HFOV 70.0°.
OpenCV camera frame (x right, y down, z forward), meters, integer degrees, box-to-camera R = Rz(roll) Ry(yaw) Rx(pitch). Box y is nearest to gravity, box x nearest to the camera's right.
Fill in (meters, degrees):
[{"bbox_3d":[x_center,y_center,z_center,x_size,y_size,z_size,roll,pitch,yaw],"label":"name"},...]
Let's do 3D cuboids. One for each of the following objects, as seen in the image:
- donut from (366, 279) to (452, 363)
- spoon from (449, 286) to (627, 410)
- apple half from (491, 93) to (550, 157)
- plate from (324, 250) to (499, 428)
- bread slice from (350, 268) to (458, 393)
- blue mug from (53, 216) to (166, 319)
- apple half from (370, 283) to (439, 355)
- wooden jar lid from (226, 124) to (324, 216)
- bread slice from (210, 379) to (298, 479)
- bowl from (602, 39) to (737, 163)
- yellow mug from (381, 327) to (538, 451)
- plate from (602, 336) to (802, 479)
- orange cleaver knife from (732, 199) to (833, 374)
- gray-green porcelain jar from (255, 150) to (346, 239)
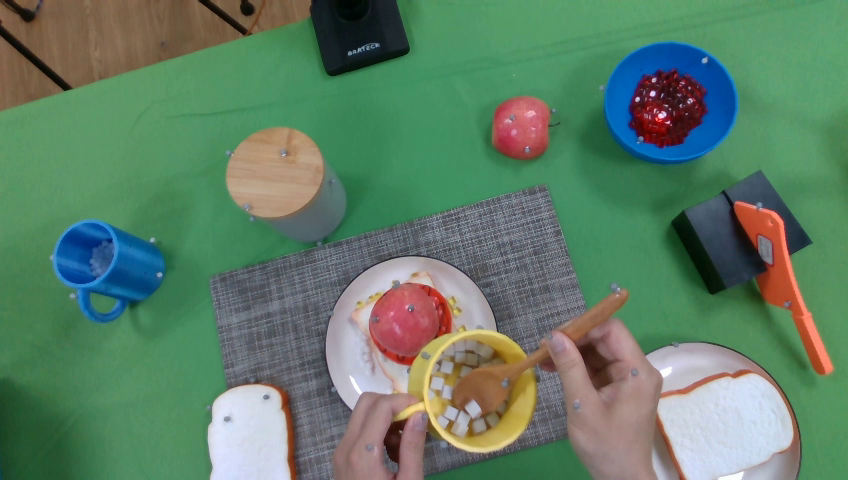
[{"bbox_3d":[-0.017,0.093,0.699,0.099,0.048,0.098,-1,78,6],"label":"donut"},{"bbox_3d":[0.087,0.091,0.487,0.042,0.194,0.021,41,39,-9],"label":"spoon"},{"bbox_3d":[0.122,-0.151,0.766,0.074,0.053,0.080,6,78,10],"label":"apple half"},{"bbox_3d":[-0.015,0.116,0.723,0.207,0.039,0.206,-1,77,6],"label":"plate"},{"bbox_3d":[-0.010,0.113,0.724,0.107,0.018,0.133,-32,75,-1],"label":"bread slice"},{"bbox_3d":[-0.387,0.039,0.746,0.082,0.106,0.116,5,77,7],"label":"blue mug"},{"bbox_3d":[-0.023,0.085,0.664,0.081,0.033,0.081,-3,75,13],"label":"apple half"},{"bbox_3d":[-0.164,-0.076,0.674,0.108,0.021,0.108,-1,74,4],"label":"wooden jar lid"},{"bbox_3d":[-0.208,0.234,0.727,0.105,0.019,0.131,-8,78,3],"label":"bread slice"},{"bbox_3d":[0.287,-0.156,0.736,0.151,0.077,0.150,-1,78,6],"label":"bowl"},{"bbox_3d":[0.026,0.132,0.525,0.131,0.064,0.099,-14,83,-15],"label":"yellow mug"},{"bbox_3d":[0.301,0.213,0.671,0.209,0.038,0.208,-1,77,6],"label":"plate"},{"bbox_3d":[0.397,0.050,0.676,0.012,0.077,0.212,-26,97,-7],"label":"orange cleaver knife"},{"bbox_3d":[-0.156,-0.061,0.736,0.106,0.127,0.105,-1,76,6],"label":"gray-green porcelain jar"}]
